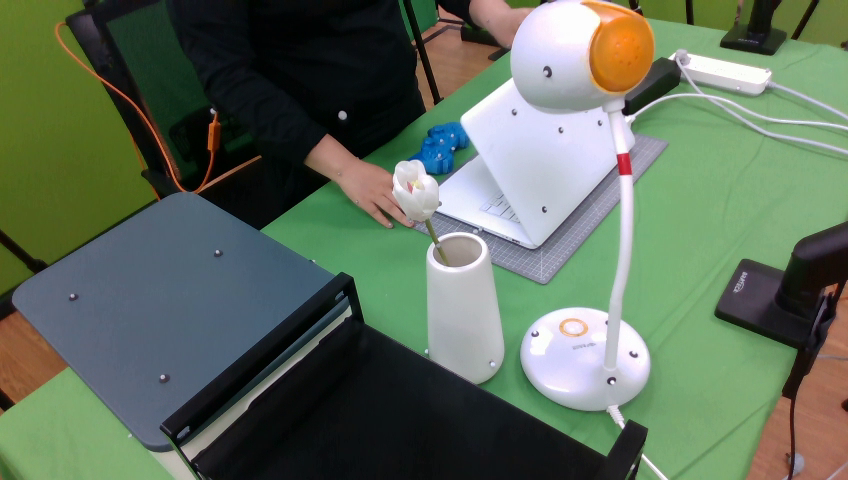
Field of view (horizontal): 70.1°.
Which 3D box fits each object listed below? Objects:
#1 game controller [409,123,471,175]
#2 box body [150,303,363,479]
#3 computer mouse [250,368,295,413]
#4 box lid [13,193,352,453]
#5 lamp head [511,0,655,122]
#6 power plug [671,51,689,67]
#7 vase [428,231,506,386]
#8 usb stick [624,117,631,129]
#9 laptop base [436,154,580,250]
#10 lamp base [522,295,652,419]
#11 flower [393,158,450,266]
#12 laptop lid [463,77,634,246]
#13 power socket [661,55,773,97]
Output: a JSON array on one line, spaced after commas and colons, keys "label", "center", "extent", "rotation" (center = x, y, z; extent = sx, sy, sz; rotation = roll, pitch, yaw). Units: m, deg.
[{"label": "game controller", "center": [0.029, -0.180, 1.169], "extent": [0.096, 0.052, 0.155], "rotation": [13, 44, 19]}, {"label": "box body", "center": [-0.284, 0.123, 0.765], "extent": [0.361, 0.161, 0.255], "rotation": [25, 49, 33]}, {"label": "computer mouse", "center": [-0.196, 0.182, 0.772], "extent": [0.063, 0.041, 0.116], "rotation": [-12, 47, -11]}, {"label": "box lid", "center": [-0.291, 0.067, 0.716], "extent": [0.368, 0.015, 0.264], "rotation": [25, 50, 33]}, {"label": "lamp head", "center": [0.155, -0.168, 0.563], "extent": [0.113, 0.113, 0.122], "rotation": [-18, 23, -12]}, {"label": "power plug", "center": [0.540, -0.379, 1.302], "extent": [0.073, 0.053, 0.035], "rotation": [-31, 46, -23]}, {"label": "vase", "center": [0.050, 0.087, 0.728], "extent": [0.098, 0.201, 0.097], "rotation": [-3, 40, 3]}, {"label": "usb stick", "center": [0.369, -0.208, 1.147], "extent": [0.021, 0.027, 0.059], "rotation": [25, 55, 33]}, {"label": "laptop base", "center": [0.192, -0.116, 1.087], "extent": [0.233, 0.023, 0.355], "rotation": [21, 48, 34]}, {"label": "lamp base", "center": [0.201, 0.095, 0.710], "extent": [0.161, 0.181, 0.177], "rotation": [-16, 43, -10]}, {"label": "flower", "center": [0.028, 0.035, 0.664], "extent": [0.043, 0.364, 0.038], "rotation": [36, 73, 29]}, {"label": "laptop lid", "center": [0.222, -0.179, 0.992], "extent": [0.358, 0.242, 0.013], "rotation": [-40, 16, -34]}, {"label": "power socket", "center": [0.619, -0.353, 1.289], "extent": [0.225, 0.033, 0.072], "rotation": [26, 51, 33]}]
